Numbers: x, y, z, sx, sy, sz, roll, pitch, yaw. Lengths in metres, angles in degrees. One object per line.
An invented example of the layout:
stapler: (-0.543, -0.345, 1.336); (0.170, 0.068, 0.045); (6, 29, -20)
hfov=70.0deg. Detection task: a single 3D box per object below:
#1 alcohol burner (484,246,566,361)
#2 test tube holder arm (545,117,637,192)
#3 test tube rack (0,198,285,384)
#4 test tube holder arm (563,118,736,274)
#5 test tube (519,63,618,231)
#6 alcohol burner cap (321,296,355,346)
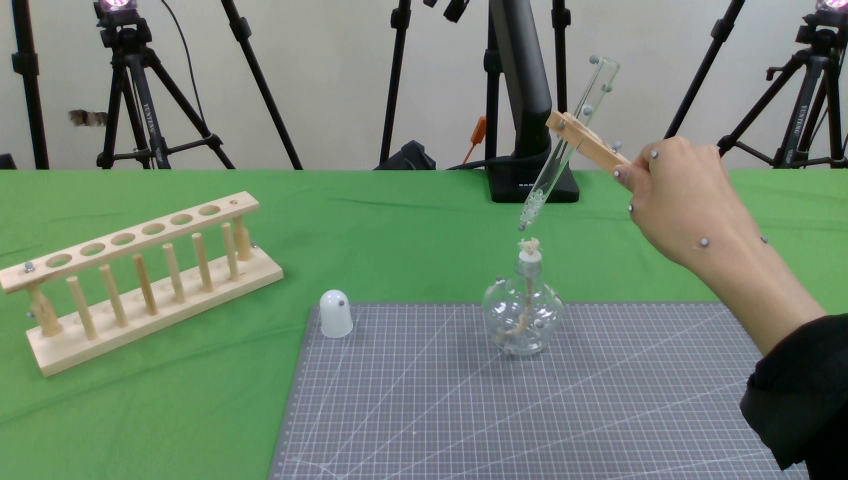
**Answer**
alcohol burner: (0.095, 0.054, 0.564); (0.078, 0.120, 0.077); (1, 35, 0)
test tube holder arm: (0.128, -0.067, 0.464); (0.010, 0.015, 0.087); (-10, 46, -45)
test tube rack: (-0.271, 0.043, 0.616); (0.243, 0.086, 0.066); (-24, 39, -32)
test tube holder arm: (0.155, -0.039, 0.442); (0.013, 0.015, 0.176); (-2, 41, -37)
test tube: (0.113, -0.069, 0.487); (0.017, 0.151, 0.017); (18, 30, -10)
alcohol burner cap: (-0.086, 0.077, 0.597); (0.034, 0.048, 0.033); (1, 34, 0)
